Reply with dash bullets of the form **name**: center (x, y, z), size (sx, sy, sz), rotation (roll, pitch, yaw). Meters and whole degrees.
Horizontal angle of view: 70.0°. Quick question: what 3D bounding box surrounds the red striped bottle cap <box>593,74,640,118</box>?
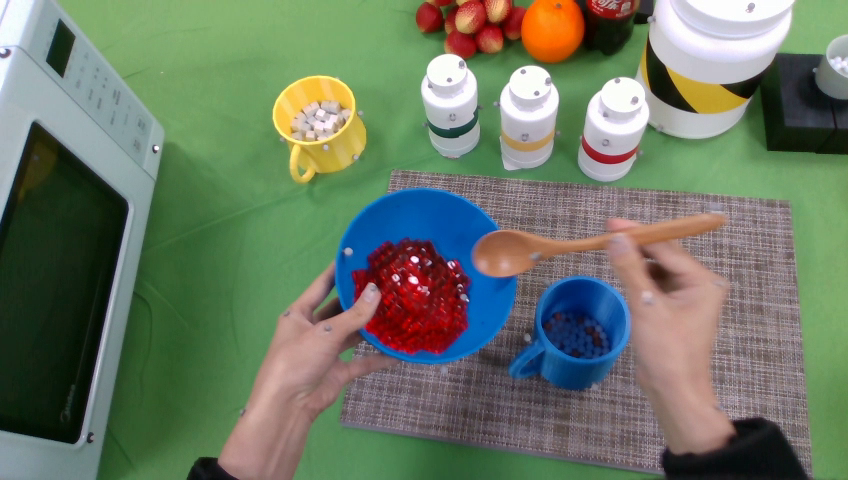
- **red striped bottle cap**: center (0.195, -0.146, 0.613), size (0.044, 0.018, 0.044), rotation (-1, 65, 2)

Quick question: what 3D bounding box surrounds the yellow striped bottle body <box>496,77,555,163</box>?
- **yellow striped bottle body**: center (0.113, -0.143, 0.679), size (0.063, 0.121, 0.062), rotation (-3, 65, 7)

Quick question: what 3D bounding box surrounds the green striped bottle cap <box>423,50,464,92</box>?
- **green striped bottle cap**: center (0.020, -0.182, 0.650), size (0.044, 0.020, 0.044), rotation (-2, 65, 5)

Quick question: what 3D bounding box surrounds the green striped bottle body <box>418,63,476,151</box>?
- **green striped bottle body**: center (0.027, -0.160, 0.697), size (0.063, 0.120, 0.062), rotation (-2, 66, 6)

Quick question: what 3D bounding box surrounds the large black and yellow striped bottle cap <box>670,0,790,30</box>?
- **large black and yellow striped bottle cap**: center (0.292, -0.250, 0.577), size (0.115, 0.019, 0.114), rotation (-3, 64, 6)

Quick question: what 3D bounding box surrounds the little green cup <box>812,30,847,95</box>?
- **little green cup**: center (0.451, -0.188, 0.648), size (0.061, 0.039, 0.061), rotation (-1, 64, 3)

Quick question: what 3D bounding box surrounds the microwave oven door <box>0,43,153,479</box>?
- **microwave oven door**: center (-0.361, 0.036, 0.569), size (0.039, 0.246, 0.353), rotation (-3, 66, 6)

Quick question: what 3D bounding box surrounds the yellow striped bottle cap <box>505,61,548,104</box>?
- **yellow striped bottle cap**: center (0.107, -0.164, 0.632), size (0.044, 0.019, 0.044), rotation (-2, 67, 6)

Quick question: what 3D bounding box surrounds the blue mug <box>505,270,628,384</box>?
- **blue mug**: center (0.128, 0.094, 0.575), size (0.116, 0.107, 0.081), rotation (-28, 65, -6)

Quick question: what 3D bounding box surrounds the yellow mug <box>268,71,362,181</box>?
- **yellow mug**: center (-0.136, -0.132, 0.734), size (0.099, 0.064, 0.130), rotation (15, 69, 13)

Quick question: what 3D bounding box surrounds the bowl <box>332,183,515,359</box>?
- **bowl**: center (-0.004, 0.034, 0.523), size (0.152, 0.077, 0.150), rotation (3, 70, -9)

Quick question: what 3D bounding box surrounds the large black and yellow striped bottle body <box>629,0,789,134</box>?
- **large black and yellow striped bottle body**: center (0.303, -0.216, 0.654), size (0.130, 0.185, 0.129), rotation (-3, 66, 6)

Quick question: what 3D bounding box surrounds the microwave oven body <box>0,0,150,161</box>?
- **microwave oven body**: center (-0.505, 0.007, 0.604), size (0.326, 0.262, 0.438), rotation (-3, 66, 5)

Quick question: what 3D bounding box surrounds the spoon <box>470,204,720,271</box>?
- **spoon**: center (0.114, -0.002, 0.445), size (0.193, 0.042, 0.021), rotation (-9, 17, 44)

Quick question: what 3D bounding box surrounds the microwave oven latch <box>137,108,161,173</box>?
- **microwave oven latch**: center (-0.348, -0.122, 0.749), size (0.030, 0.030, 0.078), rotation (-1, 67, 6)

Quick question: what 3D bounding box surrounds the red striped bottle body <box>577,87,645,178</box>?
- **red striped bottle body**: center (0.202, -0.124, 0.660), size (0.063, 0.121, 0.062), rotation (-4, 64, 8)
